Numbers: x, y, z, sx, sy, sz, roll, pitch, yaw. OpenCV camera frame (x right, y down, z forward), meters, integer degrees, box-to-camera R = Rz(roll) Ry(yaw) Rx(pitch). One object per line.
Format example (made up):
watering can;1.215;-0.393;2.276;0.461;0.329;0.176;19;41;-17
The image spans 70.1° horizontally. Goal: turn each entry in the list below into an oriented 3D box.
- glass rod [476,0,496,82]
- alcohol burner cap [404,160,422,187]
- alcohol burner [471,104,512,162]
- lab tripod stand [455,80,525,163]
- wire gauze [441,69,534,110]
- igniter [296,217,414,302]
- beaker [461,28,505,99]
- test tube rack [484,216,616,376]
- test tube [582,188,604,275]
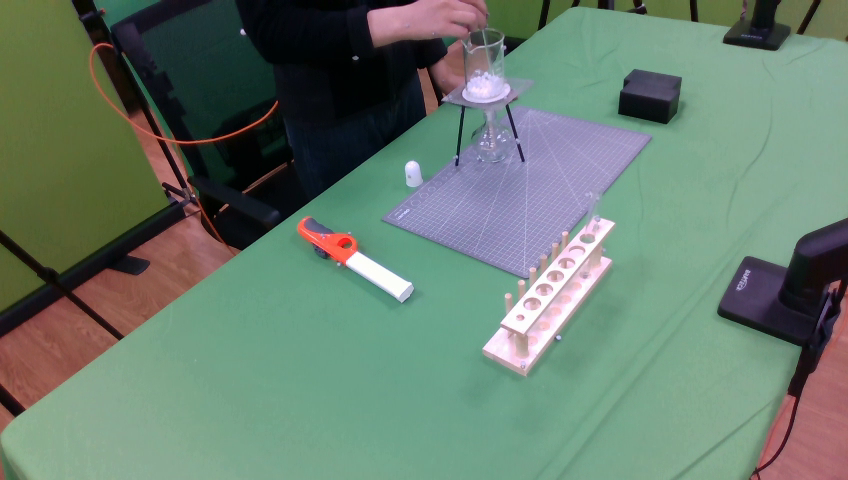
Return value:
glass rod;0.102;-0.352;1.018;0.008;0.201;0.008;-10;47;11
alcohol burner cap;-0.022;-0.125;1.118;0.034;0.048;0.033;-4;41;4
alcohol burner;0.125;-0.207;1.126;0.078;0.119;0.077;-5;43;5
lab tripod stand;0.121;-0.220;1.126;0.148;0.132;0.147;-4;39;4
wire gauze;0.114;-0.268;1.082;0.120;0.011;0.125;22;47;29
igniter;-0.121;0.025;0.970;0.274;0.025;0.057;29;63;37
beaker;0.103;-0.304;1.051;0.073;0.101;0.084;19;48;29
test tube rack;0.174;0.064;0.823;0.066;0.085;0.243;23;49;32
test tube;0.228;-0.007;0.821;0.017;0.151;0.017;-3;42;3
